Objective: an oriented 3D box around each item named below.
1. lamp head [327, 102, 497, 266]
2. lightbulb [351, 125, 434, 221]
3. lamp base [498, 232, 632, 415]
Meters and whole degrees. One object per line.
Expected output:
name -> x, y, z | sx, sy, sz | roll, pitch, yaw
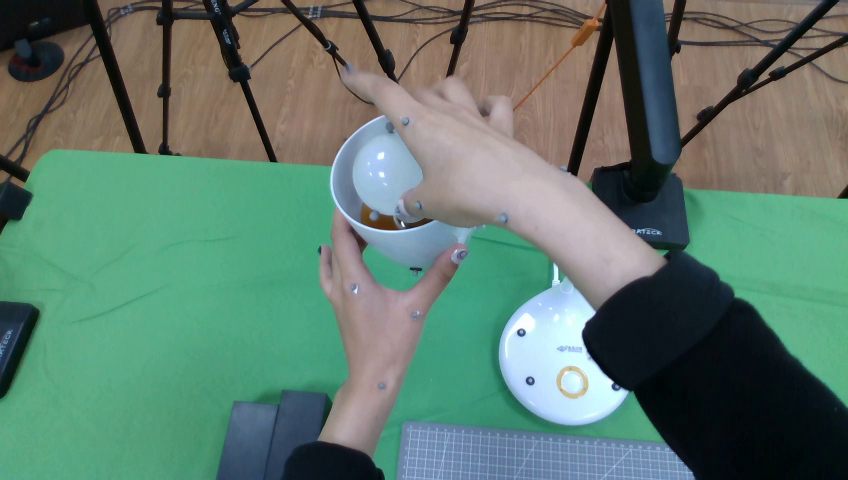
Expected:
lamp head -> -0.002, -0.032, 0.488 | 0.112, 0.124, 0.111 | -8, 61, 15
lightbulb -> -0.016, -0.043, 0.459 | 0.059, 0.109, 0.059 | -7, 64, 15
lamp base -> 0.165, 0.083, 0.668 | 0.161, 0.182, 0.177 | -8, 60, -3
